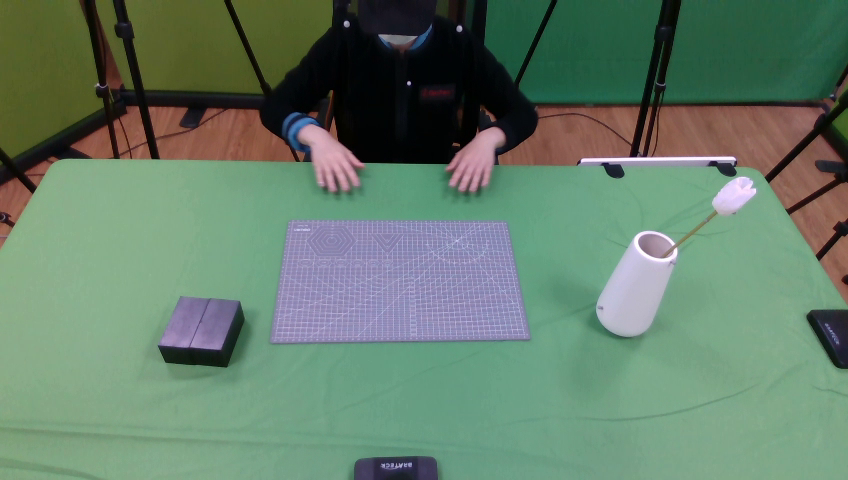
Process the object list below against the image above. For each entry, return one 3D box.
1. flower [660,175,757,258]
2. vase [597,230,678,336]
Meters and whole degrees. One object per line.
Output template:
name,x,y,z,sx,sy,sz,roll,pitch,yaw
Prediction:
flower,0.385,0.024,0.965,0.038,0.363,0.044,38,47,7
vase,0.360,0.077,1.026,0.098,0.201,0.097,1,47,-1
